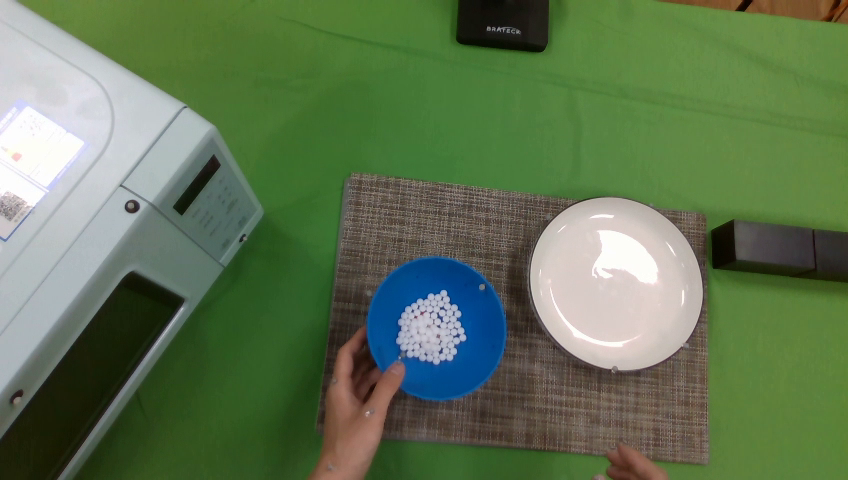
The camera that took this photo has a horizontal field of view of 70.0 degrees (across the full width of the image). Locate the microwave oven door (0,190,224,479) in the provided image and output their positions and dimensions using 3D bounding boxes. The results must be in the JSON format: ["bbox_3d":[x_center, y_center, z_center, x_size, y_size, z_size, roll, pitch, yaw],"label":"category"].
[{"bbox_3d":[-0.320,0.136,0.524,0.039,0.244,0.355,31,76,3],"label":"microwave oven door"}]

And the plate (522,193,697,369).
[{"bbox_3d":[0.215,0.048,0.717,0.208,0.039,0.206,1,77,-5],"label":"plate"}]

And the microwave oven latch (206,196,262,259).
[{"bbox_3d":[-0.213,-0.018,0.675,0.030,0.029,0.079,33,77,2],"label":"microwave oven latch"}]

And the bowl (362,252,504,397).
[{"bbox_3d":[0.003,0.095,0.659,0.152,0.077,0.150,3,75,-12],"label":"bowl"}]

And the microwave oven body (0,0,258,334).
[{"bbox_3d":[-0.423,0.026,0.544,0.326,0.261,0.440,32,77,2],"label":"microwave oven body"}]
